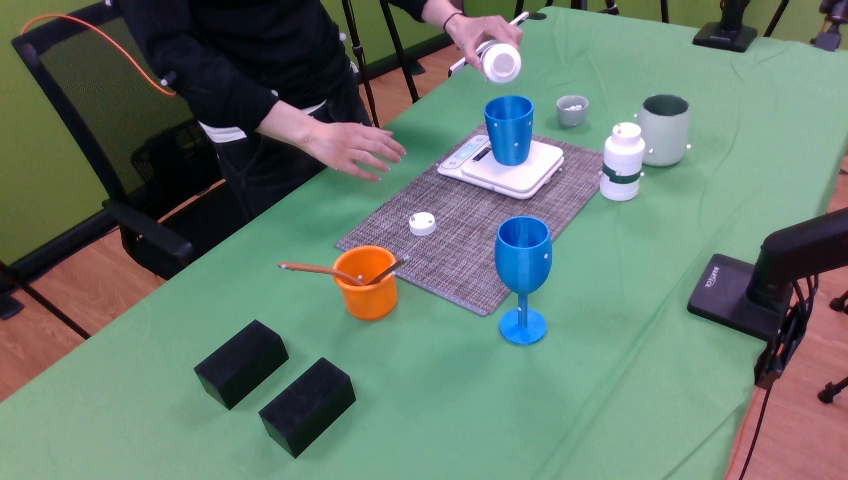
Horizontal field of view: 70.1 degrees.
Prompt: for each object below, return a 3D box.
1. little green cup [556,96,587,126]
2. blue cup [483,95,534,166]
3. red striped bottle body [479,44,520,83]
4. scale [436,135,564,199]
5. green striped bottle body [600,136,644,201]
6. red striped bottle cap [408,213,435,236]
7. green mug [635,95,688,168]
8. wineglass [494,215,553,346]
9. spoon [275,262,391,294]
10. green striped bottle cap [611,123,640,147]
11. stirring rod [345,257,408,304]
[{"bbox_3d":[0.295,-0.258,1.214,0.061,0.039,0.061,-4,42,4],"label":"little green cup"},{"bbox_3d":[0.149,-0.186,1.051,0.092,0.101,0.092,-6,41,6],"label":"blue cup"},{"bbox_3d":[0.128,-0.300,1.028,0.063,0.063,0.119,-6,18,2],"label":"red striped bottle body"},{"bbox_3d":[0.137,-0.142,1.101,0.199,0.032,0.149,22,48,30],"label":"scale"},{"bbox_3d":[0.326,-0.128,0.997,0.063,0.120,0.063,-4,41,4],"label":"green striped bottle body"},{"bbox_3d":[-0.005,-0.026,0.999,0.044,0.018,0.044,-4,40,3],"label":"red striped bottle cap"},{"bbox_3d":[0.421,-0.201,1.081,0.092,0.105,0.125,5,42,15],"label":"green mug"},{"bbox_3d":[0.127,0.055,0.770,0.074,0.173,0.073,-4,40,4],"label":"wineglass"},{"bbox_3d":[-0.120,0.050,0.830,0.041,0.195,0.021,31,97,45],"label":"spoon"},{"bbox_3d":[0.322,-0.168,0.963,0.044,0.020,0.044,-3,41,3],"label":"green striped bottle cap"},{"bbox_3d":[-0.067,0.057,0.815,0.014,0.175,0.006,-24,82,-38],"label":"stirring rod"}]
